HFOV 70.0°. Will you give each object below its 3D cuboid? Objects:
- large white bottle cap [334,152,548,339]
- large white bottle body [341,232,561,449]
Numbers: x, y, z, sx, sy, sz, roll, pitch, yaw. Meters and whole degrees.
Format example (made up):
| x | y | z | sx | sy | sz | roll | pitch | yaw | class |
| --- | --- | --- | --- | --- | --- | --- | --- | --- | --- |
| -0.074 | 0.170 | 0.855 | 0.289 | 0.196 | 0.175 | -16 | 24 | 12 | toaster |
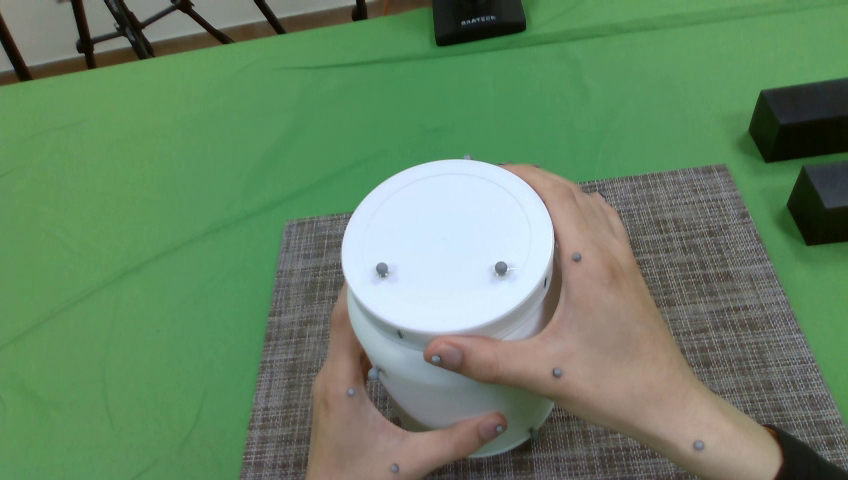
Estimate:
| x | y | z | sx | sy | sz | roll | pitch | yaw | class |
| --- | --- | --- | --- | --- | --- | --- | --- | --- | --- |
| 0.009 | -0.001 | 0.327 | 0.115 | 0.018 | 0.113 | -4 | 55 | 7 | large white bottle cap |
| 0.022 | 0.047 | 0.395 | 0.130 | 0.186 | 0.129 | -5 | 55 | 7 | large white bottle body |
